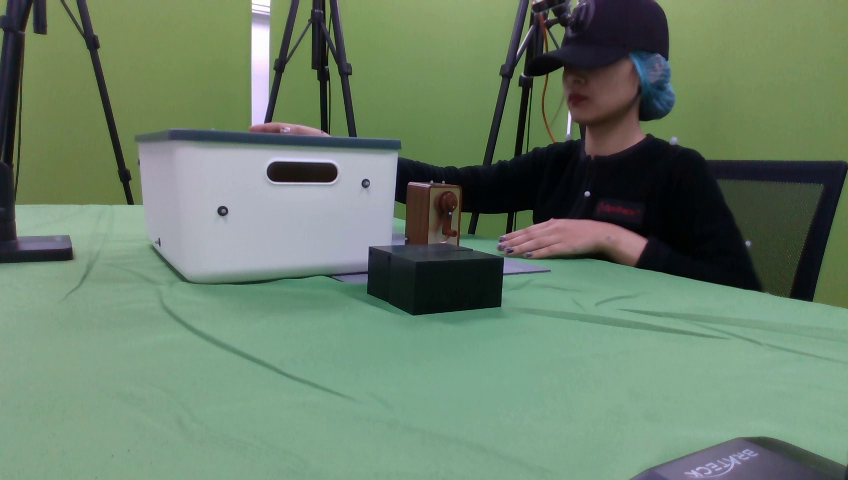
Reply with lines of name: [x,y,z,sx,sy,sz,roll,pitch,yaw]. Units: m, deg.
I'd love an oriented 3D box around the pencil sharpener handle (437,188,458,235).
pencil sharpener handle: [0.041,-0.041,0.877,0.036,0.067,0.030,1,7,-30]

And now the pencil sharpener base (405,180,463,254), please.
pencil sharpener base: [0.016,-0.035,0.922,0.061,0.107,0.076,-2,9,-30]

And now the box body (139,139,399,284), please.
box body: [-0.222,-0.056,0.807,0.255,0.160,0.362,-3,9,-31]

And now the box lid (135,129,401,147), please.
box lid: [-0.220,-0.129,0.795,0.265,0.015,0.369,-4,9,-31]
